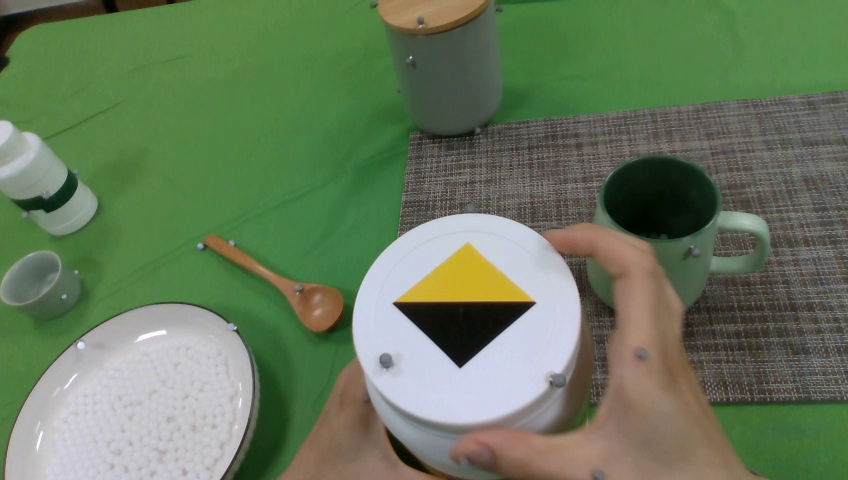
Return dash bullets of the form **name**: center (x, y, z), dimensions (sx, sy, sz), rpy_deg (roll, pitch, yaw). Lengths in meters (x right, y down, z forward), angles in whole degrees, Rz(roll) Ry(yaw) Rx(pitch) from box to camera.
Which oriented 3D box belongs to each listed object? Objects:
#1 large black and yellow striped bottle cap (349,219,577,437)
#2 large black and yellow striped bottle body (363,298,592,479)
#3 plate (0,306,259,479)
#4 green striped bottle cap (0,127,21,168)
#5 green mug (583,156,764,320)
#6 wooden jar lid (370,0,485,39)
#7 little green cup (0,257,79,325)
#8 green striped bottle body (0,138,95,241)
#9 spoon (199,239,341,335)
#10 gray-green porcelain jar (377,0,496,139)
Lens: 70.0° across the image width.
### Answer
- **large black and yellow striped bottle cap**: center (0.019, 0.040, 0.305), dimensions (0.115, 0.019, 0.114), rpy_deg (-5, 57, 8)
- **large black and yellow striped bottle body**: center (0.036, 0.085, 0.379), dimensions (0.130, 0.186, 0.129), rpy_deg (-5, 58, 9)
- **plate**: center (-0.228, 0.151, 0.487), dimensions (0.209, 0.038, 0.207), rpy_deg (-6, 54, 8)
- **green striped bottle cap**: center (-0.412, -0.087, 0.580), dimensions (0.044, 0.020, 0.044), rpy_deg (-4, 56, 7)
- **green mug**: center (0.184, 0.002, 0.453), dimensions (0.125, 0.106, 0.092), rpy_deg (4, 56, 15)
- **wooden jar lid**: center (0.005, -0.214, 0.556), dimensions (0.108, 0.021, 0.107), rpy_deg (-8, 52, 11)
- **little green cup**: center (-0.372, 0.051, 0.589), dimensions (0.061, 0.039, 0.061), rpy_deg (-6, 53, 9)
- **green striped bottle body**: center (-0.403, -0.056, 0.621), dimensions (0.063, 0.120, 0.062), rpy_deg (-6, 54, 9)
- **spoon**: center (-0.148, 0.035, 0.560), dimensions (0.192, 0.022, 0.041), rpy_deg (26, 81, 27)
- **gray-green porcelain jar**: center (0.017, -0.174, 0.605), dimensions (0.106, 0.128, 0.105), rpy_deg (-6, 50, 8)
